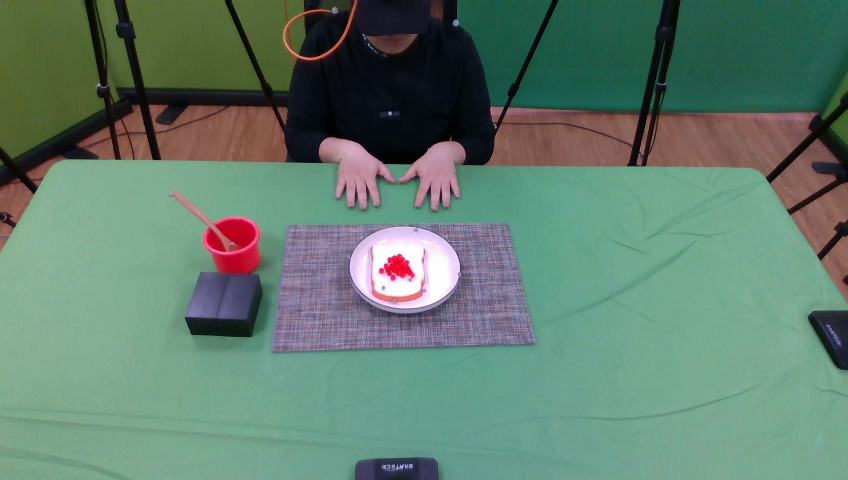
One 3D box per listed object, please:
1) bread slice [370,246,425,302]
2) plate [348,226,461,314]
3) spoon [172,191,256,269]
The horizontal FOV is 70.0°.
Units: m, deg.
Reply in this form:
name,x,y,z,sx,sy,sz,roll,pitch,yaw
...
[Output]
name,x,y,z,sx,sy,sz,roll,pitch,yaw
bread slice,-0.048,0.060,1.123,0.105,0.019,0.130,0,45,-3
plate,-0.035,0.058,1.124,0.209,0.038,0.208,2,46,-2
spoon,-0.382,-0.019,1.104,0.194,0.021,0.041,50,48,-17
